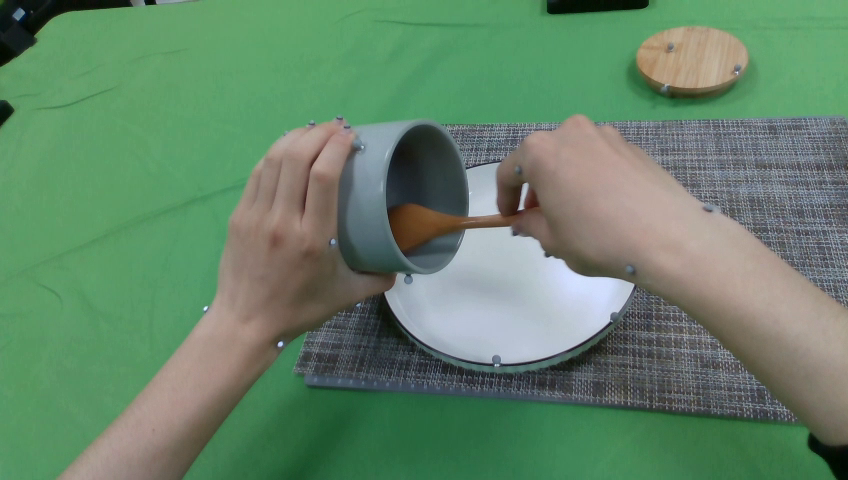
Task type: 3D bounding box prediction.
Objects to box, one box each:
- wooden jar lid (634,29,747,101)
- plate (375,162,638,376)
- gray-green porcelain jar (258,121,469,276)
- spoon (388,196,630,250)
[{"bbox_3d":[0.275,-0.182,0.631,0.108,0.021,0.107,-6,51,8],"label":"wooden jar lid"},{"bbox_3d":[0.065,0.021,0.495,0.207,0.039,0.205,-6,50,8],"label":"plate"},{"bbox_3d":[-0.047,-0.028,0.441,0.126,0.107,0.105,2,50,34],"label":"gray-green porcelain jar"},{"bbox_3d":[0.043,-0.014,0.416,0.193,0.022,0.041,-4,52,29],"label":"spoon"}]
